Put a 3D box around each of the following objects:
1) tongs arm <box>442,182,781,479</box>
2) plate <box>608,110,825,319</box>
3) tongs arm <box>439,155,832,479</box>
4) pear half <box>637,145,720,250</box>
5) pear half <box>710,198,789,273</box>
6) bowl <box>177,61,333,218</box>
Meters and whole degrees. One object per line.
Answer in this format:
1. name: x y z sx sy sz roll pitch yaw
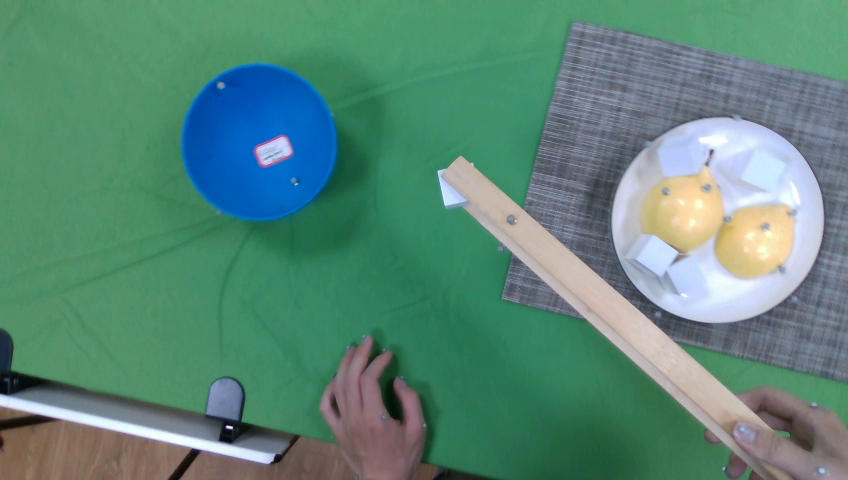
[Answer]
1. tongs arm: 0.162 0.071 0.491 0.384 0.051 0.026 43 87 4
2. plate: 0.289 -0.025 0.614 0.207 0.039 0.207 0 92 3
3. tongs arm: 0.160 0.067 0.468 0.386 0.028 0.028 43 84 9
4. pear half: 0.262 -0.048 0.600 0.076 0.056 0.110 23 89 -2
5. pear half: 0.334 -0.006 0.607 0.070 0.031 0.088 44 100 -3
6. bowl: -0.161 -0.096 0.618 0.151 0.077 0.151 0 93 3
